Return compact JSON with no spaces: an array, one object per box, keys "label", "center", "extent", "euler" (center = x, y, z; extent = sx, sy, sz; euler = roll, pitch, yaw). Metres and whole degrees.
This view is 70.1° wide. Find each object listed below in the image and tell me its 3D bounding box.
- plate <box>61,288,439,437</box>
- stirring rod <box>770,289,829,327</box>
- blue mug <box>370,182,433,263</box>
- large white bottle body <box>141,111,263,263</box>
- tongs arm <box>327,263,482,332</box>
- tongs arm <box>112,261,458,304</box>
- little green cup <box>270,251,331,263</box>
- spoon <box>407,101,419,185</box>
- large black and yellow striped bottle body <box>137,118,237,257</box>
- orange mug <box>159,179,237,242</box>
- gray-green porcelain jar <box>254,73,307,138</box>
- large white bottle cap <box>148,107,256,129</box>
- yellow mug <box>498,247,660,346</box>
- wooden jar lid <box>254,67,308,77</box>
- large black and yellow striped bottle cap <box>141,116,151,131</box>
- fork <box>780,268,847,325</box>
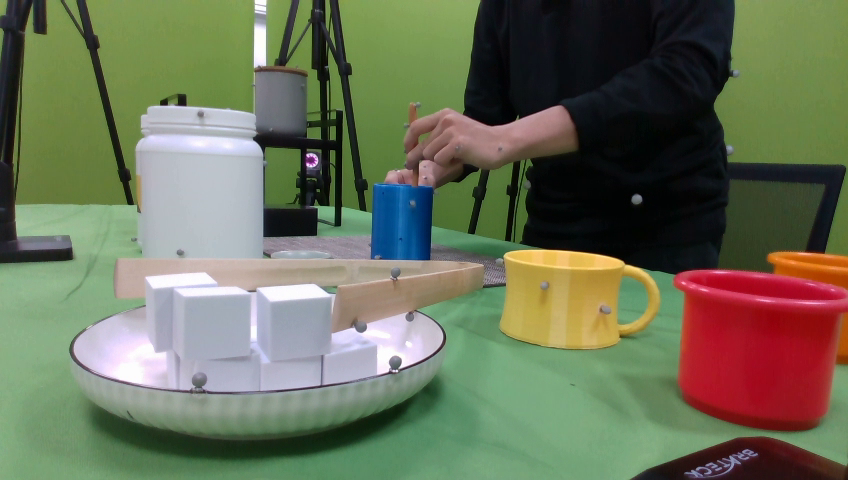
[{"label":"plate","center":[-0.095,0.069,0.362],"extent":[0.208,0.039,0.207],"euler":[3,7,0]},{"label":"stirring rod","center":[0.349,0.022,0.468],"extent":[0.014,0.006,0.175],"euler":[-12,-26,-50]},{"label":"blue mug","center":[-0.027,-0.026,0.836],"extent":[0.082,0.106,0.117],"euler":[4,7,15]},{"label":"large white bottle body","center":[-0.254,-0.053,0.697],"extent":[0.131,0.184,0.130],"euler":[2,7,0]},{"label":"tongs arm","center":[-0.003,0.036,0.493],"extent":[0.050,0.026,0.386],"euler":[1,0,19]},{"label":"tongs arm","center":[-0.080,0.032,0.527],"extent":[0.028,0.027,0.389],"euler":[-3,-3,33]},{"label":"little green cup","center":[-0.129,0.034,0.629],"extent":[0.061,0.038,0.061],"euler":[2,6,0]},{"label":"spoon","center":[-0.015,-0.089,0.815],"extent":[0.022,0.193,0.041],"euler":[-5,8,-44]},{"label":"large black and yellow striped bottle body","center":[-0.330,-0.075,0.849],"extent":[0.131,0.184,0.130],"euler":[2,8,0]},{"label":"orange mug","center":[-0.368,-0.051,0.991],"extent":[0.127,0.101,0.083],"euler":[-10,14,-41]},{"label":"gray-green porcelain jar","center":[-0.298,-0.277,1.259],"extent":[0.106,0.126,0.106],"euler":[3,8,0]},{"label":"large white bottle cap","center":[-0.250,-0.137,0.686],"extent":[0.115,0.018,0.115],"euler":[3,8,0]},{"label":"yellow mug","center":[0.130,0.045,0.508],"extent":[0.131,0.064,0.100],"euler":[4,7,6]},{"label":"wooden jar lid","center":[-0.296,-0.339,1.251],"extent":[0.108,0.020,0.108],"euler":[2,7,0]},{"label":"large black and yellow striped bottle cap","center":[-0.328,-0.158,0.837],"extent":[0.115,0.019,0.115],"euler":[2,6,0]},{"label":"fork","center":[0.324,0.018,0.441],"extent":[0.028,0.018,0.207],"euler":[-3,-36,-5]}]
